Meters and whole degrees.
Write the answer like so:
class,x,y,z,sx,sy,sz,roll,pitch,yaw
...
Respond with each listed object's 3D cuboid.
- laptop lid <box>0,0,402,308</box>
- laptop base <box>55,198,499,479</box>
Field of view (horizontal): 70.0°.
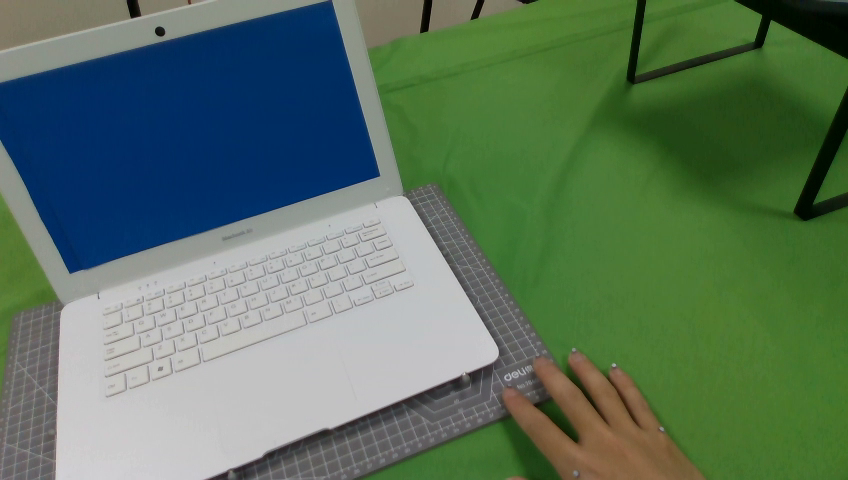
class,x,y,z,sx,sy,sz,roll,pitch,yaw
laptop lid,-0.210,-0.090,0.574,0.357,0.243,0.013,-21,24,-12
laptop base,-0.139,0.086,0.542,0.355,0.023,0.232,-19,48,-13
